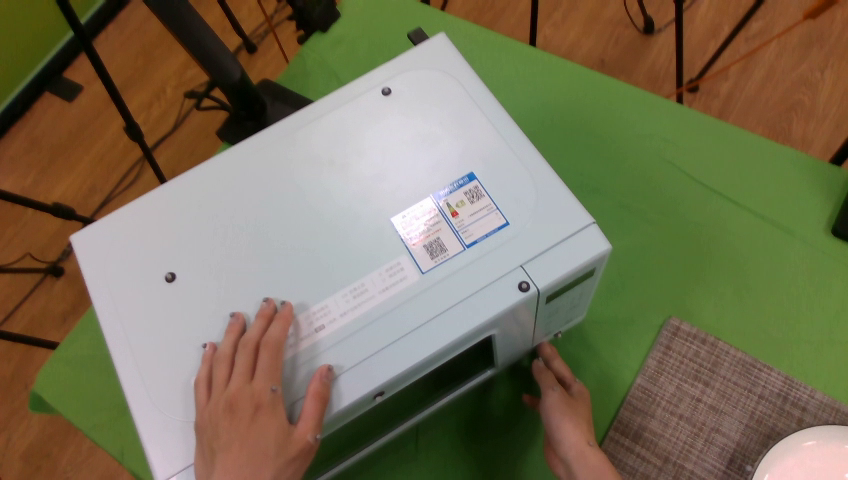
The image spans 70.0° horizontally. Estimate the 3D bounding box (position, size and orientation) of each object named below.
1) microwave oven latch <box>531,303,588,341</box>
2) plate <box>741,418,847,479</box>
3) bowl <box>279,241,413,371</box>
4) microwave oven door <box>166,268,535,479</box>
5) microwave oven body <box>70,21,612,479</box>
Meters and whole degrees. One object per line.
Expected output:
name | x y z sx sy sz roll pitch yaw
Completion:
microwave oven latch | 0.157 0.090 0.728 0.079 0.030 0.030 -29 67 -4
plate | 0.431 0.291 0.624 0.207 0.039 0.206 -3 68 7
bowl | -0.081 0.085 0.698 0.151 0.077 0.150 -3 63 7
microwave oven door | -0.046 0.162 0.616 0.356 0.246 0.039 -31 66 -5
microwave oven body | -0.082 0.030 0.680 0.442 0.262 0.323 -31 68 -5
